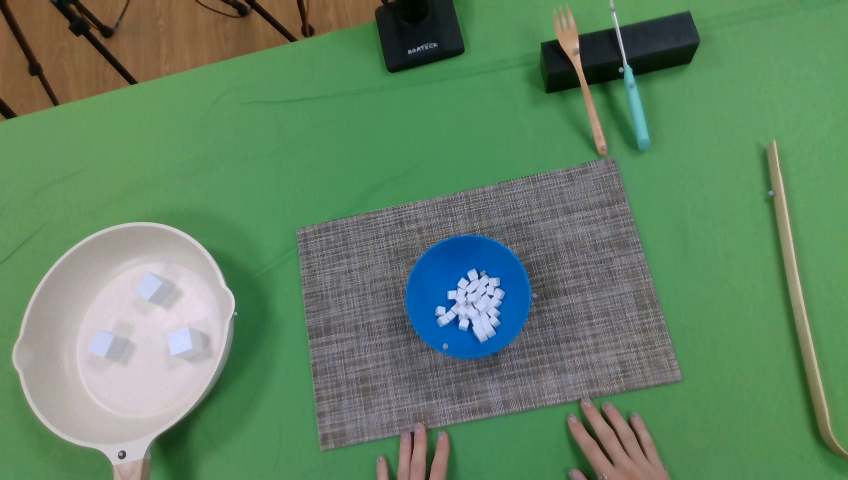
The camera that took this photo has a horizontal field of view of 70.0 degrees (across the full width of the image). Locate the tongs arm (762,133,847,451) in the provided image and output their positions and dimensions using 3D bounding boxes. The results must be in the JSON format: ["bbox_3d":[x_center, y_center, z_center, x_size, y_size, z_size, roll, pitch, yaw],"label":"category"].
[{"bbox_3d":[0.448,0.050,0.725,0.028,0.028,0.385,-3,73,5],"label":"tongs arm"}]

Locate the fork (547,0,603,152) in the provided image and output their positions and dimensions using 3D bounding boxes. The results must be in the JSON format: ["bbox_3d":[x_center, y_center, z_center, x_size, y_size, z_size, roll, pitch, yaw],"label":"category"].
[{"bbox_3d":[0.204,-0.218,0.810,0.028,0.018,0.207,-19,92,-3],"label":"fork"}]

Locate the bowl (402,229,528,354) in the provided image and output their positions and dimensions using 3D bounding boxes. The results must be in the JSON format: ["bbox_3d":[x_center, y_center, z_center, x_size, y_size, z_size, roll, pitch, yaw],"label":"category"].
[{"bbox_3d":[0.053,0.070,0.748,0.151,0.077,0.150,-2,73,8],"label":"bowl"}]

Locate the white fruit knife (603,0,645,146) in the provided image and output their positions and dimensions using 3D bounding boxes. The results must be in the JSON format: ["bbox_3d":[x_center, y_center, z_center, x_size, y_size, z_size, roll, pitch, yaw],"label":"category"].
[{"bbox_3d":[0.262,-0.227,0.803,0.016,0.027,0.207,-14,89,10],"label":"white fruit knife"}]

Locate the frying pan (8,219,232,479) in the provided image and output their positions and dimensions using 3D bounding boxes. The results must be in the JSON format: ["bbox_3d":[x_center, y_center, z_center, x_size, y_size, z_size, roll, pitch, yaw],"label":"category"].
[{"bbox_3d":[-0.370,0.209,0.758,0.307,0.103,0.483,-13,64,5],"label":"frying pan"}]
